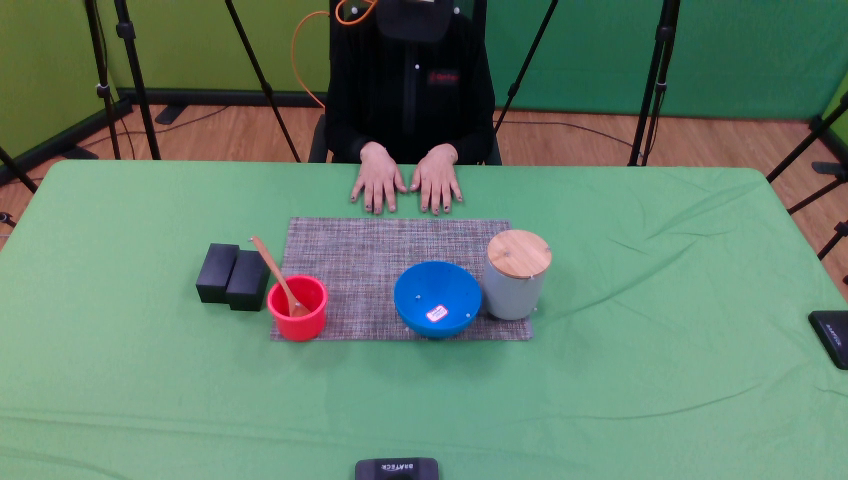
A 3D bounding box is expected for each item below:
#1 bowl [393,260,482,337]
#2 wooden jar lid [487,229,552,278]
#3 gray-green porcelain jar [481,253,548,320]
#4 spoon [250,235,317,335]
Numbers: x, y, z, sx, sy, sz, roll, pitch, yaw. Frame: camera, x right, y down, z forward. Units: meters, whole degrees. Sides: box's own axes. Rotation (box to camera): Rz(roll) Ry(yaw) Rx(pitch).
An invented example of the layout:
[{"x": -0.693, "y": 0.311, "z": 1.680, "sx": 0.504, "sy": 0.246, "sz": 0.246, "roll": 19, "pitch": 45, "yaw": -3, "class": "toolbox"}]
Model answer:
[{"x": 0.021, "y": 0.115, "z": 1.045, "sx": 0.151, "sy": 0.077, "sz": 0.150, "roll": 2, "pitch": 46, "yaw": -2, "class": "bowl"}, {"x": 0.160, "y": 0.026, "z": 1.018, "sx": 0.108, "sy": 0.021, "sz": 0.107, "roll": 2, "pitch": 47, "yaw": -1, "class": "wooden jar lid"}, {"x": 0.156, "y": 0.070, "z": 1.064, "sx": 0.106, "sy": 0.127, "sz": 0.105, "roll": 2, "pitch": 46, "yaw": -2, "class": "gray-green porcelain jar"}, {"x": -0.237, "y": 0.075, "z": 1.019, "sx": 0.041, "sy": 0.021, "sz": 0.194, "roll": -32, "pitch": 100, "yaw": -32, "class": "spoon"}]
